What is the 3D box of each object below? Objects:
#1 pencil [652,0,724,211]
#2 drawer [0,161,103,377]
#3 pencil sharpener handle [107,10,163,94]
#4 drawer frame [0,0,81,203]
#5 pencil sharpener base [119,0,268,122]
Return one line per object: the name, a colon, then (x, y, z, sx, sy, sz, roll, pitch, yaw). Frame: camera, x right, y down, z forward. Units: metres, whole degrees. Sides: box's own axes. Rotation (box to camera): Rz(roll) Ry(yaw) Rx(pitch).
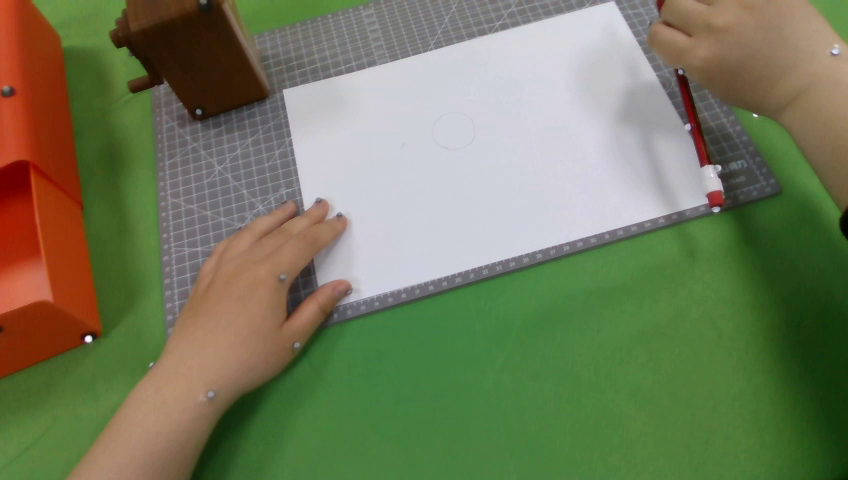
pencil: (0.185, -0.109, 0.433, 0.012, 0.012, 0.192, -6, 67, 4)
drawer: (-0.358, 0.009, 0.442, 0.194, 0.074, 0.209, -23, 63, -4)
pencil sharpener handle: (-0.231, -0.143, 0.472, 0.030, 0.068, 0.035, -21, 59, -3)
drawer frame: (-0.403, -0.085, 0.493, 0.202, 0.083, 0.211, -23, 62, -5)
pencil sharpener base: (-0.182, -0.156, 0.486, 0.077, 0.108, 0.061, -21, 62, -3)
